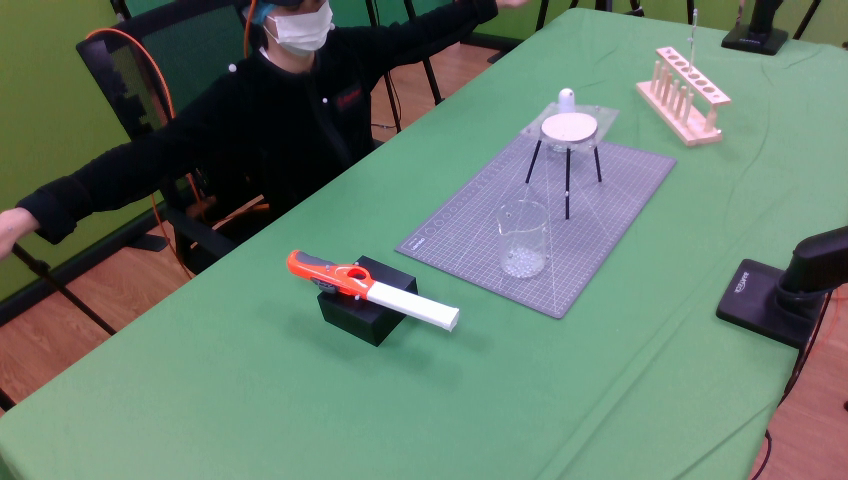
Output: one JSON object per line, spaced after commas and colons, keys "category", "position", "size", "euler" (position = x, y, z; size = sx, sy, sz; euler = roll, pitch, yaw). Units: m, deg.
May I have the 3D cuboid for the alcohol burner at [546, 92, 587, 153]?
{"category": "alcohol burner", "position": [0.263, -0.222, 1.124], "size": [0.078, 0.119, 0.077], "euler": [-5, 42, 5]}

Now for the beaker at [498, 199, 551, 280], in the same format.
{"category": "beaker", "position": [0.144, 0.003, 0.884], "size": [0.073, 0.101, 0.084], "euler": [28, 52, 36]}

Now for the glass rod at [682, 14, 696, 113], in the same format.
{"category": "glass rod", "position": [0.495, -0.326, 1.132], "size": [0.008, 0.201, 0.008], "euler": [-8, 42, 8]}

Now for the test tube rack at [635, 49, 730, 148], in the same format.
{"category": "test tube rack", "position": [0.497, -0.283, 1.185], "size": [0.067, 0.085, 0.240], "euler": [-10, 40, -2]}

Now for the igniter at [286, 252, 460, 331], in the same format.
{"category": "igniter", "position": [-0.080, 0.067, 0.832], "size": [0.275, 0.025, 0.057], "euler": [17, 46, 22]}

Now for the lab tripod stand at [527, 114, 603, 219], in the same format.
{"category": "lab tripod stand", "position": [0.235, -0.129, 1.002], "size": [0.148, 0.132, 0.147], "euler": [-6, 40, 6]}

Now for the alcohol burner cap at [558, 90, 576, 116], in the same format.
{"category": "alcohol burner cap", "position": [0.260, -0.250, 1.102], "size": [0.034, 0.048, 0.033], "euler": [-7, 37, 5]}

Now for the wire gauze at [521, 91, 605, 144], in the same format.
{"category": "wire gauze", "position": [0.219, -0.191, 0.948], "size": [0.121, 0.011, 0.125], "euler": [8, 49, 13]}
